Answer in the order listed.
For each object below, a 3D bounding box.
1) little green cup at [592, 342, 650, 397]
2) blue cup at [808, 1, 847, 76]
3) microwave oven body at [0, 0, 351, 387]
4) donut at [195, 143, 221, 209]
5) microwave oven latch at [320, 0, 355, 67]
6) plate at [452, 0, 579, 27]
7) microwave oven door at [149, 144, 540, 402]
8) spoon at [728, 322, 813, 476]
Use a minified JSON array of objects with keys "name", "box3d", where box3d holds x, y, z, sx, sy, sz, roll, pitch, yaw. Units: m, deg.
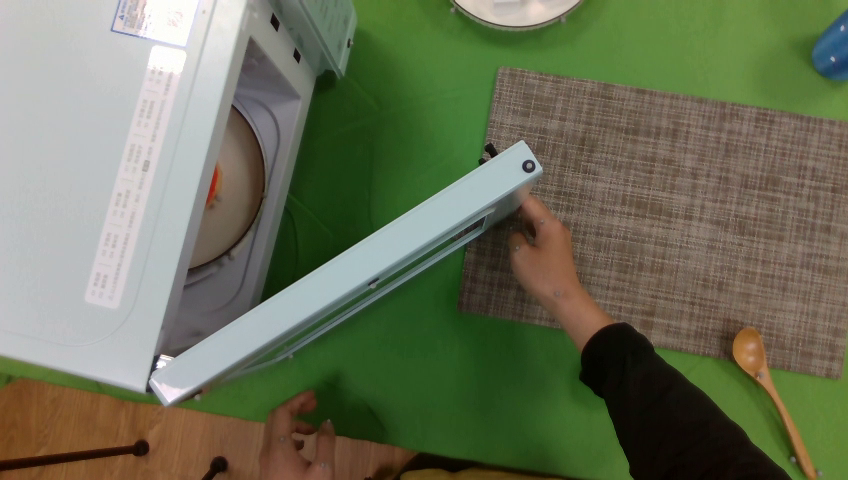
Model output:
[{"name":"little green cup","box3d":[0.222,0.147,0.693,0.061,0.039,0.061,0,84,3]},{"name":"blue cup","box3d":[0.486,-0.228,0.674,0.092,0.100,0.092,0,88,3]},{"name":"microwave oven body","box3d":[-0.294,-0.116,0.618,0.326,0.260,0.441,13,88,3]},{"name":"donut","box3d":[-0.269,-0.077,0.657,0.099,0.048,0.099,0,93,12]},{"name":"microwave oven latch","box3d":[-0.104,-0.248,0.714,0.030,0.029,0.079,17,88,3]},{"name":"plate","box3d":[0.111,-0.354,0.730,0.207,0.039,0.207,0,86,3]},{"name":"microwave oven door","box3d":[-0.058,0.033,0.593,0.356,0.244,0.039,-32,84,0]},{"name":"spoon","box3d":[0.397,0.183,0.689,0.041,0.021,0.193,-26,87,-15]}]
